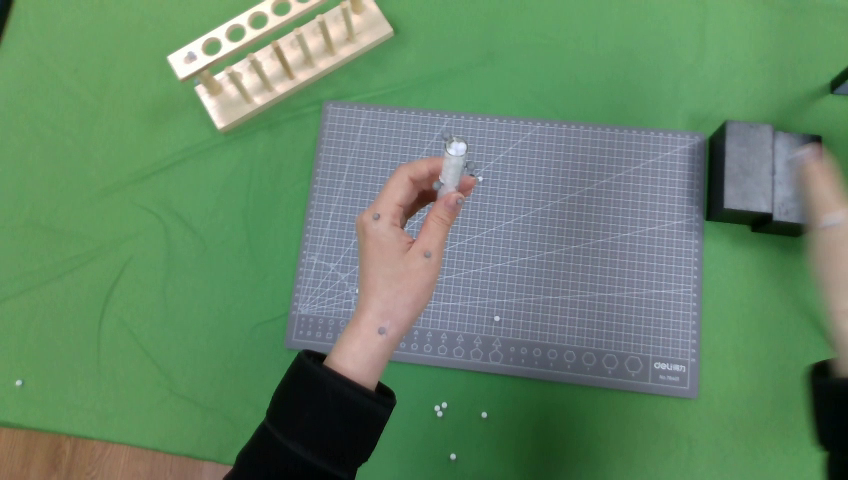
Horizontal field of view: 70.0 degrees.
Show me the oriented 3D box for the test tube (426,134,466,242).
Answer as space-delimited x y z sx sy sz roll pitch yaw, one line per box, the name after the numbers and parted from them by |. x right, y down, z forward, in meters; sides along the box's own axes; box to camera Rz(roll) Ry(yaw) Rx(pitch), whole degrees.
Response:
0.014 -0.031 0.444 0.017 0.151 0.017 2 68 -3 | test tube

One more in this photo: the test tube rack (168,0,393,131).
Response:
-0.160 -0.229 0.707 0.242 0.085 0.066 -31 78 -4 | test tube rack
